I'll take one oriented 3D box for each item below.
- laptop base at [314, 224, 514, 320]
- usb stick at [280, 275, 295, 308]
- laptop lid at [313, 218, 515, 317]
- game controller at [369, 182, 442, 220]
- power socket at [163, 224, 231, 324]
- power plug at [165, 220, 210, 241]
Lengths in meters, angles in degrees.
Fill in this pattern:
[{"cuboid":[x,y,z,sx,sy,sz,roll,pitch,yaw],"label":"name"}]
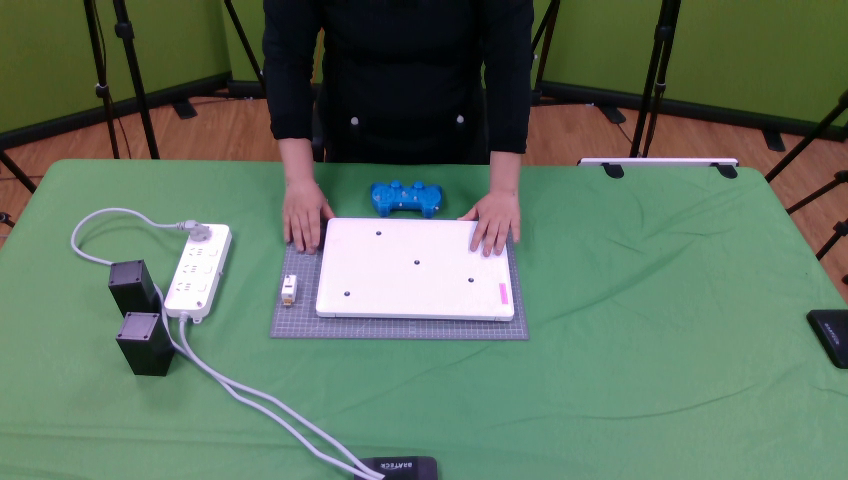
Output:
[{"cuboid":[-0.018,0.059,1.140,0.354,0.023,0.234,2,42,-3],"label":"laptop base"},{"cuboid":[-0.244,0.093,1.080,0.021,0.027,0.059,2,49,-4],"label":"usb stick"},{"cuboid":[-0.016,0.045,1.130,0.357,0.013,0.240,3,47,-2],"label":"laptop lid"},{"cuboid":[-0.039,-0.091,1.268,0.155,0.052,0.096,2,50,-2],"label":"game controller"},{"cuboid":[-0.411,0.052,1.107,0.072,0.033,0.225,3,46,-3],"label":"power socket"},{"cuboid":[-0.440,-0.015,1.143,0.072,0.053,0.035,7,46,9],"label":"power plug"}]
